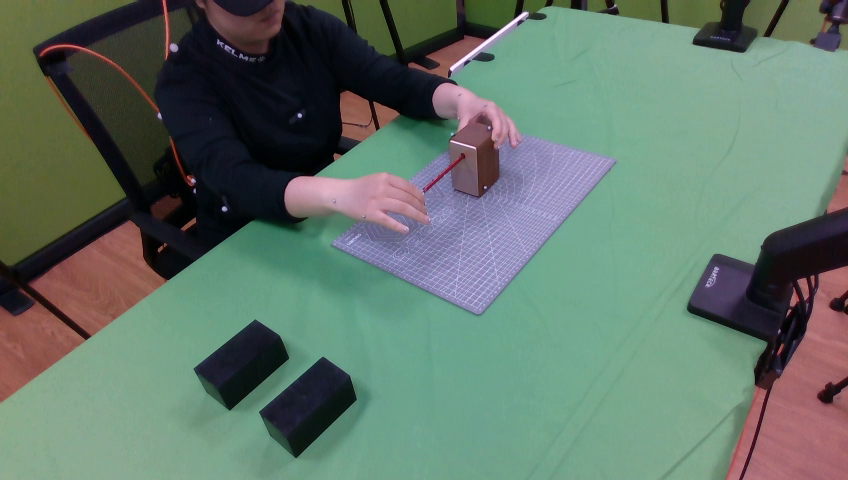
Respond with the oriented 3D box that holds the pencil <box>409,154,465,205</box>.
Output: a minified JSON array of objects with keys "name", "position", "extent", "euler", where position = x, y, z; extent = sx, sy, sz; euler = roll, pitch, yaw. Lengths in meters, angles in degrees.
[{"name":"pencil","position":[0.034,-0.111,0.984],"extent":[0.012,0.012,0.194],"euler":[20,46,29]}]

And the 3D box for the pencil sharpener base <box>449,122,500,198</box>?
[{"name":"pencil sharpener base","position":[0.090,-0.140,1.052],"extent":[0.061,0.107,0.077],"euler":[21,47,30]}]

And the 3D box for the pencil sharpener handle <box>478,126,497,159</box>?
[{"name":"pencil sharpener handle","position":[0.118,-0.179,1.075],"extent":[0.035,0.068,0.031],"euler":[22,48,28]}]
